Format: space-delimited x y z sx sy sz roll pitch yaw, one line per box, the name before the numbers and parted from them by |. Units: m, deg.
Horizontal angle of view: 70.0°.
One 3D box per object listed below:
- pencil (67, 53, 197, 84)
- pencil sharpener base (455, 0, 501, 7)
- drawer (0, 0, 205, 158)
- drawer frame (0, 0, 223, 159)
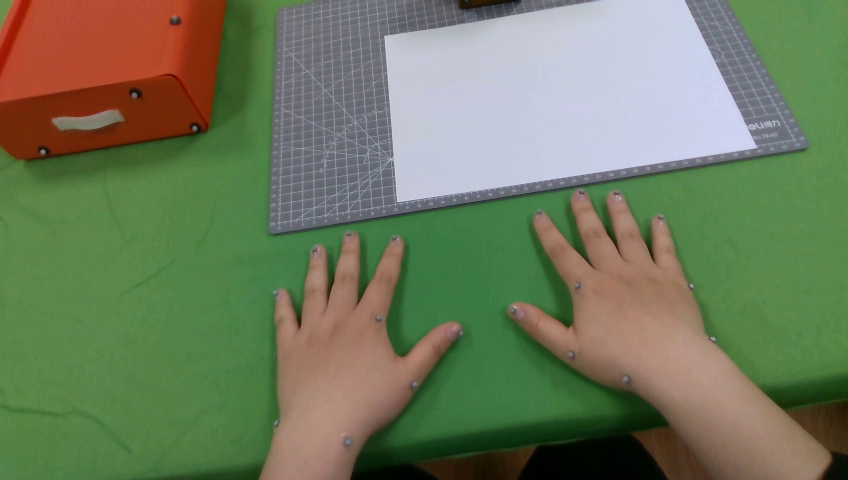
pencil | -0.311 -0.182 0.633 0.193 0.012 0.012 16 62 23
pencil sharpener base | 0.054 -0.294 0.594 0.076 0.108 0.061 -7 58 5
drawer | -0.315 -0.193 0.607 0.194 0.074 0.209 -8 57 4
drawer frame | -0.316 -0.196 0.607 0.201 0.083 0.211 -9 57 3
